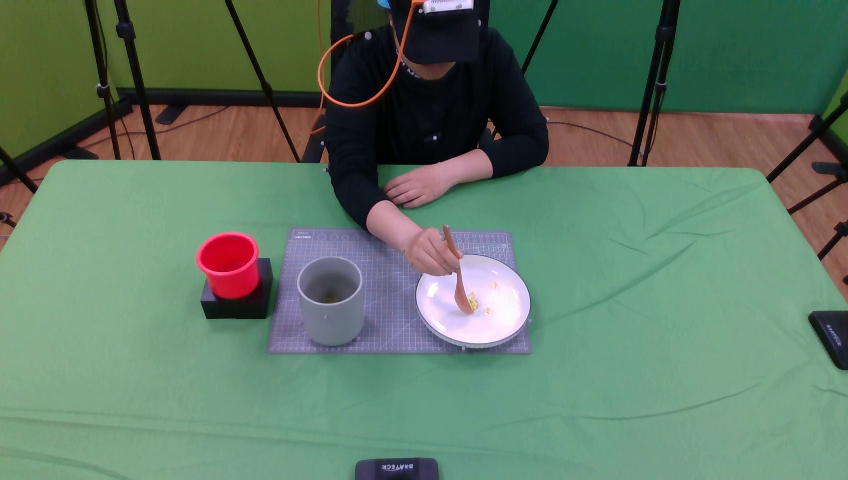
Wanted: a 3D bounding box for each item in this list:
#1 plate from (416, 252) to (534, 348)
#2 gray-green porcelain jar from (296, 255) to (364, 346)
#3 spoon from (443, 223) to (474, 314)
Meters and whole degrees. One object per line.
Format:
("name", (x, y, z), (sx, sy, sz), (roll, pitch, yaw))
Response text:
("plate", (0.090, 0.109, 1.084), (0.208, 0.039, 0.206), (2, 46, -2))
("gray-green porcelain jar", (-0.153, 0.106, 1.008), (0.106, 0.127, 0.105), (2, 46, -2))
("spoon", (0.056, 0.051, 1.020), (0.021, 0.194, 0.041), (-30, 35, -26))
